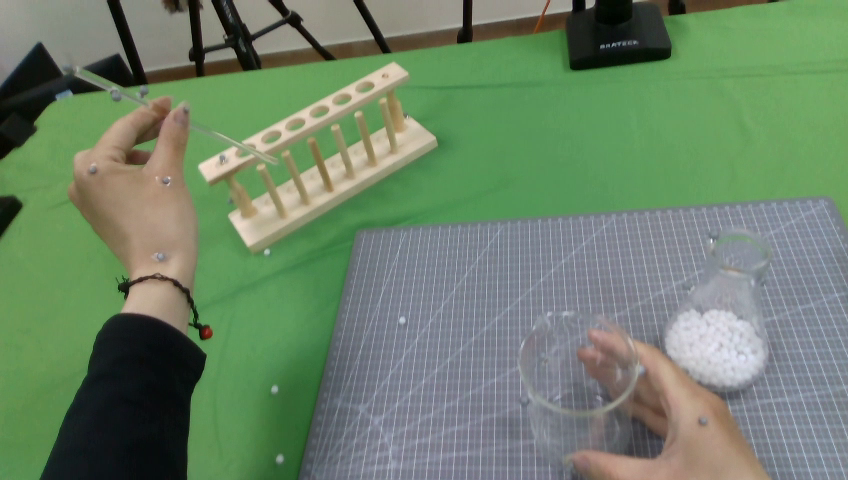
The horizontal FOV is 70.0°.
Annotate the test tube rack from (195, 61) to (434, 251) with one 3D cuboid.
[{"bbox_3d":[-0.113,-0.095,0.665,0.242,0.086,0.066,-32,49,-14],"label":"test tube rack"}]

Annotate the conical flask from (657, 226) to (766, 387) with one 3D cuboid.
[{"bbox_3d":[0.208,0.044,0.426,0.075,0.123,0.074,-7,47,9],"label":"conical flask"}]

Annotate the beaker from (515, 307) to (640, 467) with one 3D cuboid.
[{"bbox_3d":[0.102,0.103,0.417,0.074,0.101,0.083,-22,46,-5],"label":"beaker"}]

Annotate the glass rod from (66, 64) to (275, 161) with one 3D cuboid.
[{"bbox_3d":[-0.184,-0.093,0.478,0.008,0.201,0.008,-5,77,26],"label":"glass rod"}]
